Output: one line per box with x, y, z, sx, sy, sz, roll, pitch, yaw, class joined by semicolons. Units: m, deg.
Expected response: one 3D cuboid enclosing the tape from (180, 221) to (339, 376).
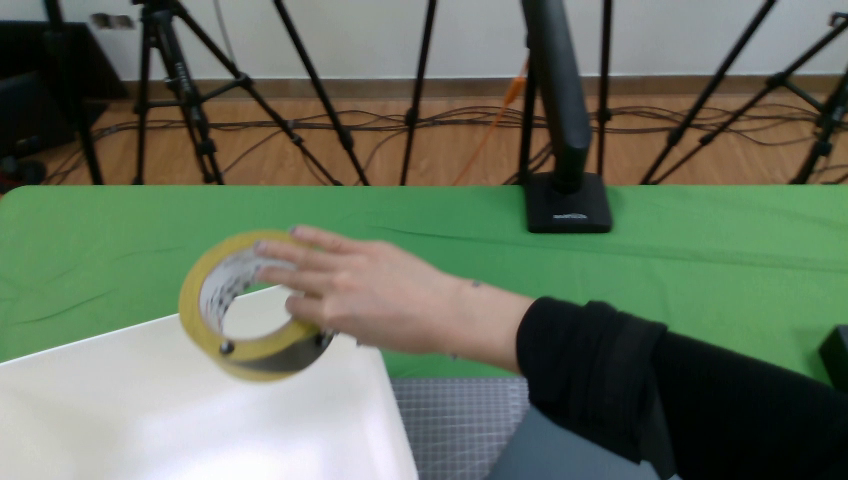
-0.126;0.044;0.469;0.117;0.053;0.116;-1;58;2;tape

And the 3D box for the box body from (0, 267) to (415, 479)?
-0.206;0.209;0.569;0.365;0.162;0.251;-16;50;-11;box body

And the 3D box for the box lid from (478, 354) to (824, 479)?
0.243;0.285;0.587;0.369;0.015;0.262;26;55;22;box lid
